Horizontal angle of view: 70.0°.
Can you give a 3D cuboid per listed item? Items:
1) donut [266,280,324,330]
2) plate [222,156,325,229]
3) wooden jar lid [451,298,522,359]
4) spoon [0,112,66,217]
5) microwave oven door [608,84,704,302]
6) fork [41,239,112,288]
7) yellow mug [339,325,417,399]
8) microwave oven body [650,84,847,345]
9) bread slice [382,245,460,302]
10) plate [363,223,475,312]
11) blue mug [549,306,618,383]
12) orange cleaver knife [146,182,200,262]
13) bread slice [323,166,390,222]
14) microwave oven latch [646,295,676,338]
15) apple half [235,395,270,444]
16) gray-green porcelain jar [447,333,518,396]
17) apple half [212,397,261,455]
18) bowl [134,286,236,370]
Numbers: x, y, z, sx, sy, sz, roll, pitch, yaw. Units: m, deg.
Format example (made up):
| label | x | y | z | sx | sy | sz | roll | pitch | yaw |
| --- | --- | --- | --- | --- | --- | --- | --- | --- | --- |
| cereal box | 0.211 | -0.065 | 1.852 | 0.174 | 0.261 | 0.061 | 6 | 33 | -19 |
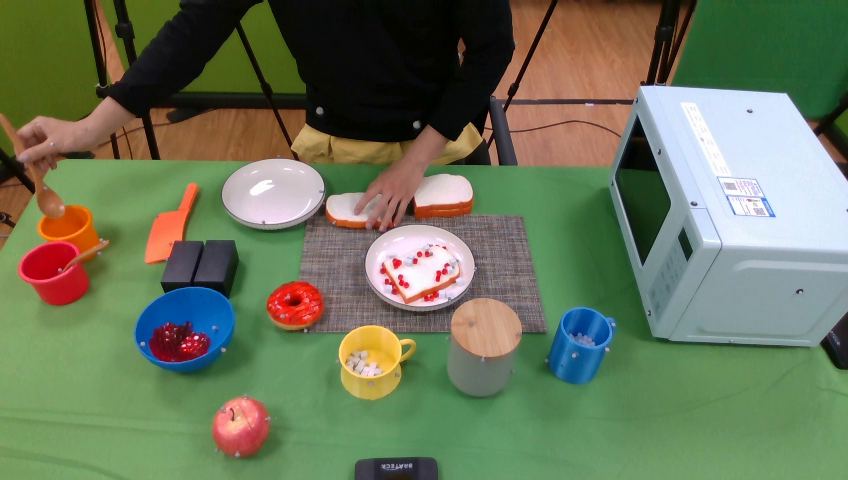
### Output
| label | x | y | z | sx | sy | sz | roll | pitch | yaw |
| --- | --- | --- | --- | --- | --- | --- | --- | --- | --- |
| donut | -0.223 | 0.112 | 1.051 | 0.099 | 0.048 | 0.098 | 2 | 46 | -2 |
| plate | -0.308 | -0.095 | 1.251 | 0.209 | 0.038 | 0.208 | 3 | 46 | -3 |
| wooden jar lid | 0.093 | 0.135 | 0.914 | 0.108 | 0.021 | 0.107 | 3 | 48 | -3 |
| spoon | -0.680 | -0.129 | 1.051 | 0.021 | 0.194 | 0.041 | 11 | 35 | 38 |
| microwave oven door | 0.424 | -0.096 | 1.138 | 0.039 | 0.245 | 0.353 | 3 | 46 | -1 |
| fork | -0.591 | 0.040 | 1.028 | 0.207 | 0.019 | 0.028 | -27 | 37 | 29 |
| yellow mug | -0.072 | 0.191 | 0.978 | 0.131 | 0.064 | 0.099 | -17 | 49 | -20 |
| microwave oven body | 0.569 | -0.054 | 1.116 | 0.326 | 0.261 | 0.439 | 2 | 46 | -1 |
| bread slice | 0.000 | 0.054 | 1.128 | 0.132 | 0.019 | 0.104 | -20 | 51 | -22 |
| plate | -0.009 | 0.054 | 1.126 | 0.208 | 0.039 | 0.206 | 2 | 46 | -2 |
| blue mug | 0.269 | 0.167 | 0.997 | 0.116 | 0.106 | 0.082 | -19 | 51 | -21 |
| orange cleaver knife | -0.494 | -0.039 | 1.199 | 0.077 | 0.012 | 0.210 | -3 | 48 | 2 |
| bread slice | -0.140 | -0.091 | 1.224 | 0.134 | 0.018 | 0.106 | -19 | 51 | 6 |
| microwave oven latch | 0.413 | 0.133 | 1.060 | 0.030 | 0.029 | 0.078 | 4 | 46 | 1 |
| apple half | -0.245 | 0.260 | 0.893 | 0.033 | 0.082 | 0.081 | -29 | 55 | -22 |
| gray-green porcelain jar | 0.091 | 0.178 | 0.960 | 0.106 | 0.127 | 0.105 | 2 | 46 | -2 |
| apple half | -0.276 | 0.276 | 0.877 | 0.053 | 0.075 | 0.080 | -29 | 58 | -21 |
| bowl | -0.377 | 0.156 | 0.981 | 0.151 | 0.077 | 0.150 | 2 | 46 | -2 |
